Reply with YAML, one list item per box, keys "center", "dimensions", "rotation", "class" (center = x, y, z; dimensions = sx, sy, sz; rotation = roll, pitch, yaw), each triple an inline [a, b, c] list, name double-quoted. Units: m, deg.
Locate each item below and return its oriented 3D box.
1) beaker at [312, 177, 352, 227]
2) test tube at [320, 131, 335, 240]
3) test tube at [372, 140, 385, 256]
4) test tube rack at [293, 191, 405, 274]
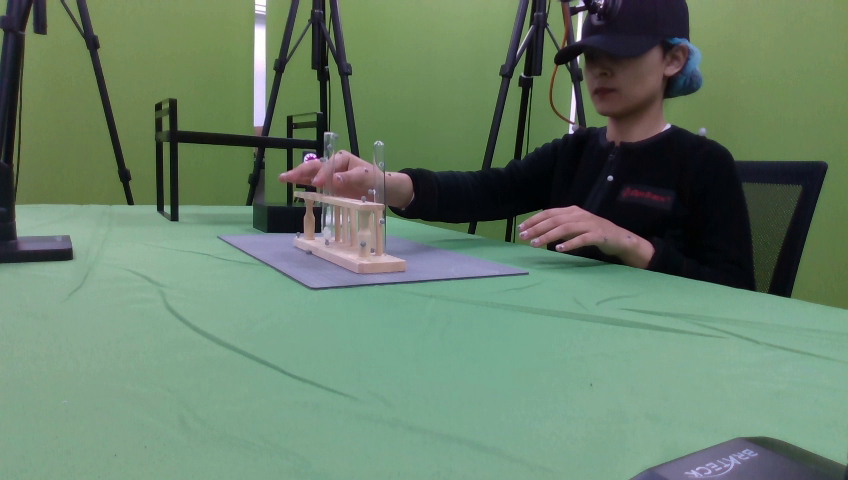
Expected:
- center: [-0.194, -0.081, 1.266]
  dimensions: [0.084, 0.100, 0.073]
  rotation: [-3, 9, -29]
  class: "beaker"
- center: [-0.133, -0.074, 0.832]
  dimensions: [0.017, 0.150, 0.017]
  rotation: [3, 7, 0]
  class: "test tube"
- center: [-0.058, -0.053, 0.781]
  dimensions: [0.017, 0.150, 0.017]
  rotation: [0, 5, 0]
  class: "test tube"
- center: [-0.110, -0.017, 0.835]
  dimensions: [0.067, 0.085, 0.241]
  rotation: [-2, 9, -30]
  class: "test tube rack"
